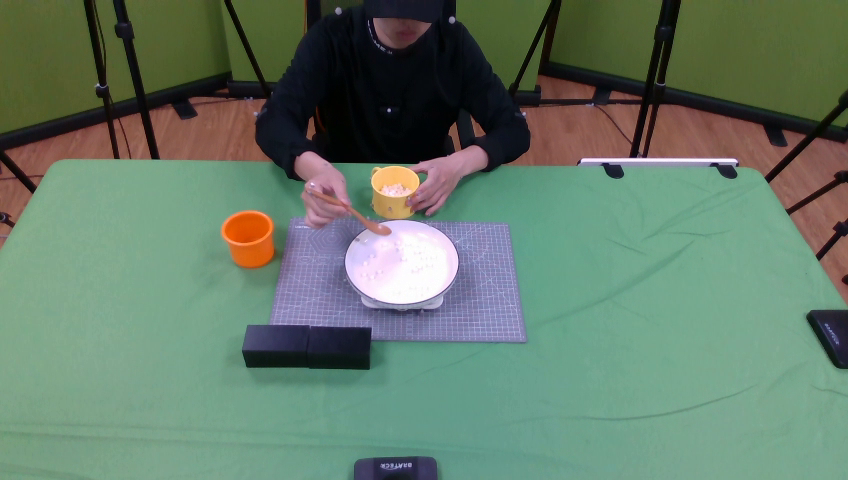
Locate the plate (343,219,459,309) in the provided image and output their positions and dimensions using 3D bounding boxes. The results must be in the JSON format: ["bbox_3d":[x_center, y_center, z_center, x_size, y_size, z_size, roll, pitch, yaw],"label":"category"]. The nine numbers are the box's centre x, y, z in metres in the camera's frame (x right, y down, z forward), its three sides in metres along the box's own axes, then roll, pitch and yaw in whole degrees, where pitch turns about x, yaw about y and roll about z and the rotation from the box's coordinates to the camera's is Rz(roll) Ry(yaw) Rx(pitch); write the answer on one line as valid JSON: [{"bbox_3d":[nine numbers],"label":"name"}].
[{"bbox_3d":[-0.041,0.046,1.094,0.209,0.038,0.208,2,46,-2],"label":"plate"}]

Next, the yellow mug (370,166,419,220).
[{"bbox_3d":[-0.072,-0.107,1.268,0.100,0.064,0.130,-30,54,-30],"label":"yellow mug"}]

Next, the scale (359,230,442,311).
[{"bbox_3d":[-0.043,0.048,1.138,0.149,0.032,0.199,2,46,-3],"label":"scale"}]

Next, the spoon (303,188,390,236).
[{"bbox_3d":[-0.131,-0.051,1.057,0.021,0.195,0.041,-46,42,12],"label":"spoon"}]
